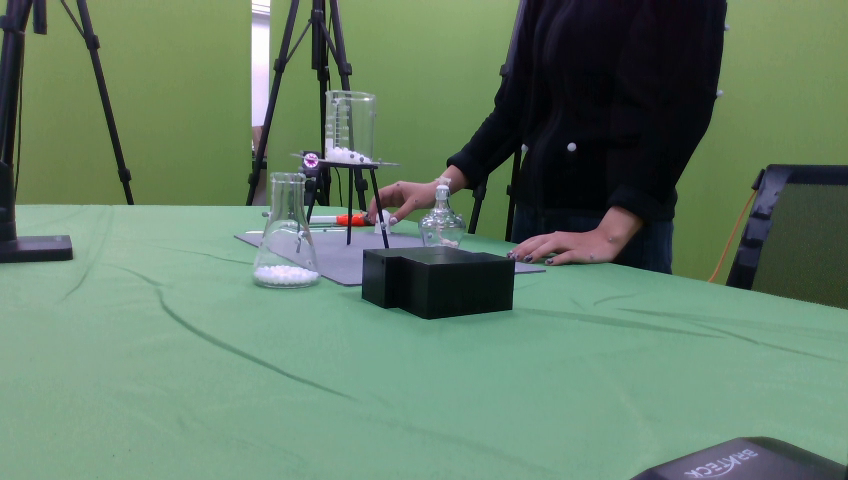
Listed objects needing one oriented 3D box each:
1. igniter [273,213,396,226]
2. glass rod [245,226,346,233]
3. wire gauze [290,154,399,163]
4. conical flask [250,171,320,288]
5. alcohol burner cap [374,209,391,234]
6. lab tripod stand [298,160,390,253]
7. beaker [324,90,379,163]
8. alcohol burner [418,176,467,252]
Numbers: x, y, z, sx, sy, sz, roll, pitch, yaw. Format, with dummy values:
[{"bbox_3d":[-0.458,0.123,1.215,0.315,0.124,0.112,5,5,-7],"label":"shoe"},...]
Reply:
[{"bbox_3d":[-0.179,-0.044,1.258,0.278,0.025,0.057,-3,-1,-39],"label":"igniter"},{"bbox_3d":[-0.236,-0.021,1.140,0.201,0.008,0.008,-3,8,-33],"label":"glass rod"},{"bbox_3d":[-0.112,-0.114,0.883,0.124,0.011,0.122,5,5,28],"label":"wire gauze"},{"bbox_3d":[-0.150,-0.013,0.658,0.075,0.122,0.075,2,7,0],"label":"conical flask"},{"bbox_3d":[-0.078,-0.036,1.148,0.034,0.048,0.034,4,7,0],"label":"alcohol burner cap"},{"bbox_3d":[-0.111,-0.050,0.893,0.148,0.131,0.148,4,6,0],"label":"lab tripod stand"},{"bbox_3d":[-0.110,-0.162,0.879,0.083,0.100,0.074,8,7,36],"label":"beaker"},{"bbox_3d":[0.029,-0.042,0.954,0.078,0.119,0.078,1,6,0],"label":"alcohol burner"}]
